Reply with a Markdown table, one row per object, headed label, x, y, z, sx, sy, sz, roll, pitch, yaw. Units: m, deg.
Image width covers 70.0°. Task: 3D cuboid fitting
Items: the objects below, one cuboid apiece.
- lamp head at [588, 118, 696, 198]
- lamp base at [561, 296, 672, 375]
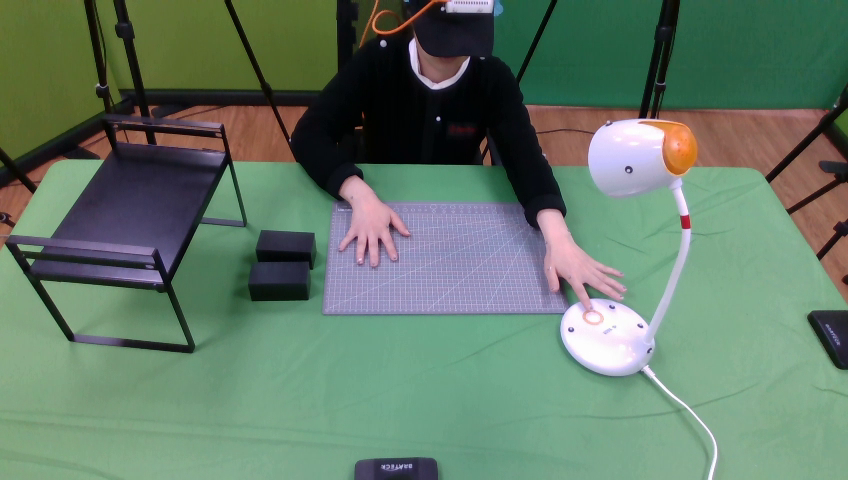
| label | x | y | z | sx | sy | sz | roll | pitch | yaw |
| --- | --- | --- | --- | --- | --- | --- | --- | --- | --- |
| lamp head | 0.304 | -0.113 | 0.823 | 0.112 | 0.112 | 0.122 | -26 | 16 | -25 |
| lamp base | 0.332 | 0.119 | 0.995 | 0.160 | 0.181 | 0.178 | -34 | 59 | -30 |
